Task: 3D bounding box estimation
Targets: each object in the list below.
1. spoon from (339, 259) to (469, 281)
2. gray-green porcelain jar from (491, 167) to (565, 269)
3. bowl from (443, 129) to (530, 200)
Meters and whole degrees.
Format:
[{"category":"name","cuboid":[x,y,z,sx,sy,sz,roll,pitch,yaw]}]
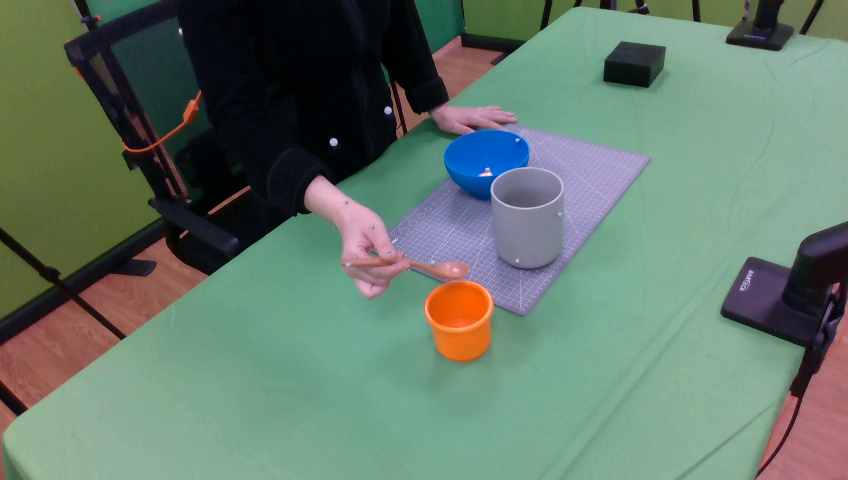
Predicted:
[{"category":"spoon","cuboid":[-0.020,0.033,0.738,0.195,0.021,0.041,10,18,-41]},{"category":"gray-green porcelain jar","cuboid":[0.157,-0.029,0.904,0.106,0.127,0.105,-6,40,5]},{"category":"bowl","cuboid":[0.113,-0.123,1.063,0.151,0.077,0.150,-6,40,5]}]
